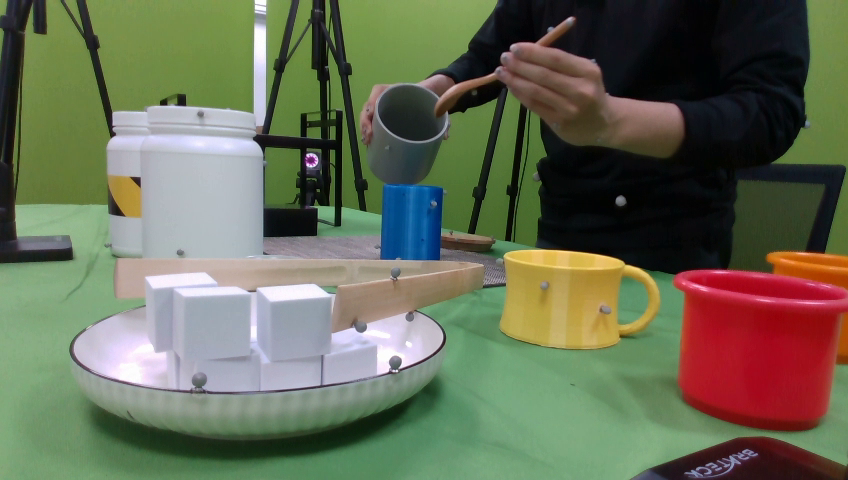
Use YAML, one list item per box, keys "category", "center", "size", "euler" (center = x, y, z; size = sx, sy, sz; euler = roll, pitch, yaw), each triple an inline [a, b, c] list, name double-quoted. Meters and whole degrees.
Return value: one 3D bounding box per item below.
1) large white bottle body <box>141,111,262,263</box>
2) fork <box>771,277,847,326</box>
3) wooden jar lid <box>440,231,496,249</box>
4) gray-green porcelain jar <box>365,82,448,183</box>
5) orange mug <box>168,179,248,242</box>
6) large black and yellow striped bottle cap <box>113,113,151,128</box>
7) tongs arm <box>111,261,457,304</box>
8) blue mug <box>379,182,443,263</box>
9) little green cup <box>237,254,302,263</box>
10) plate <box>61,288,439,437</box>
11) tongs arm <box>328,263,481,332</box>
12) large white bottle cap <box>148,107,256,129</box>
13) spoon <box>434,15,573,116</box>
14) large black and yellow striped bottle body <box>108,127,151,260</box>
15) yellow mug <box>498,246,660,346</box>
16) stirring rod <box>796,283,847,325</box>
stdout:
- category: "large white bottle body"
  center: [-0.254, -0.053, 0.697]
  size: [0.131, 0.184, 0.130]
  euler: [2, 7, 0]
- category: "fork"
  center: [0.335, 0.018, 0.443]
  size: [0.028, 0.018, 0.207]
  euler: [-1, -36, -20]
- category: "wooden jar lid"
  center: [0.066, 0.000, 1.011]
  size: [0.108, 0.020, 0.108]
  euler: [6, 7, 0]
- category: "gray-green porcelain jar"
  center: [-0.030, -0.149, 0.886]
  size: [0.106, 0.105, 0.126]
  euler: [0, -28, -14]
- category: "orange mug"
  center: [-0.351, -0.050, 0.986]
  size: [0.126, 0.101, 0.083]
  euler: [-3, 8, -9]
- category: "large black and yellow striped bottle cap"
  center: [-0.348, -0.154, 0.800]
  size: [0.115, 0.019, 0.115]
  euler: [2, 6, 0]
- category: "tongs arm"
  center: [-0.080, 0.032, 0.527]
  size: [0.028, 0.027, 0.389]
  euler: [-3, -3, 33]
- category: "blue mug"
  center: [-0.020, -0.026, 0.833]
  size: [0.082, 0.106, 0.116]
  euler: [1, 7, -7]
- category: "little green cup"
  center: [-0.150, 0.037, 0.590]
  size: [0.061, 0.038, 0.061]
  euler: [3, 8, 0]
- category: "plate"
  center: [-0.095, 0.069, 0.362]
  size: [0.208, 0.039, 0.207]
  euler: [3, 7, 0]
- category: "tongs arm"
  center: [-0.003, 0.036, 0.493]
  size: [0.050, 0.026, 0.386]
  euler: [1, -1, 19]
- category: "large white bottle cap"
  center: [-0.250, -0.137, 0.686]
  size: [0.115, 0.018, 0.115]
  euler: [2, 8, 0]
- category: "spoon"
  center: [0.081, -0.187, 0.661]
  size: [0.193, 0.021, 0.042]
  euler: [-22, 5, 38]
- category: "large black and yellow striped bottle body"
  center: [-0.350, -0.071, 0.812]
  size: [0.131, 0.184, 0.130]
  euler: [2, 7, 0]
- category: "yellow mug"
  center: [0.130, 0.045, 0.508]
  size: [0.131, 0.064, 0.100]
  euler: [4, 7, 6]
- category: "stirring rod"
  center: [0.347, 0.019, 0.460]
  size: [0.014, 0.176, 0.006]
  euler: [-17, 59, -26]
